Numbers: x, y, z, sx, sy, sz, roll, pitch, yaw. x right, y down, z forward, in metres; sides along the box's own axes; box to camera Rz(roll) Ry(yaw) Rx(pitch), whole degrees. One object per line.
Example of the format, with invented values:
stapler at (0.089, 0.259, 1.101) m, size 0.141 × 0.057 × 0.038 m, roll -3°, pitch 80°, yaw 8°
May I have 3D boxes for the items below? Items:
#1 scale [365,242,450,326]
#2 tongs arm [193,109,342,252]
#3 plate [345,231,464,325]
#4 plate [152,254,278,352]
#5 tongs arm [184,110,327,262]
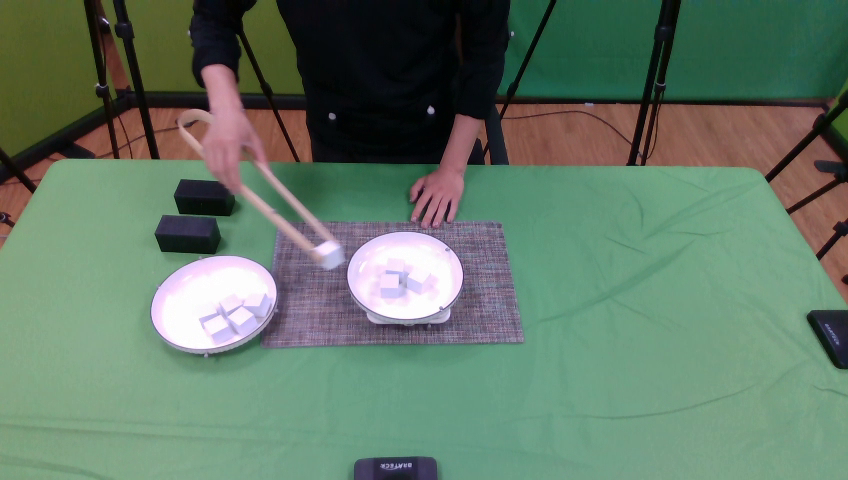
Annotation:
scale at (-0.032, 0.071, 1.113) m, size 0.149 × 0.032 × 0.199 m, roll 0°, pitch 46°, yaw -4°
tongs arm at (-0.276, -0.110, 1.058) m, size 0.386 × 0.028 × 0.028 m, roll 43°, pitch 63°, yaw 16°
plate at (-0.034, 0.069, 1.069) m, size 0.209 × 0.038 × 0.208 m, roll 2°, pitch 46°, yaw -2°
plate at (-0.357, 0.111, 1.052) m, size 0.208 × 0.039 × 0.206 m, roll 2°, pitch 46°, yaw -2°
tongs arm at (-0.292, -0.098, 1.047) m, size 0.383 × 0.026 × 0.050 m, roll 39°, pitch 59°, yaw 14°
